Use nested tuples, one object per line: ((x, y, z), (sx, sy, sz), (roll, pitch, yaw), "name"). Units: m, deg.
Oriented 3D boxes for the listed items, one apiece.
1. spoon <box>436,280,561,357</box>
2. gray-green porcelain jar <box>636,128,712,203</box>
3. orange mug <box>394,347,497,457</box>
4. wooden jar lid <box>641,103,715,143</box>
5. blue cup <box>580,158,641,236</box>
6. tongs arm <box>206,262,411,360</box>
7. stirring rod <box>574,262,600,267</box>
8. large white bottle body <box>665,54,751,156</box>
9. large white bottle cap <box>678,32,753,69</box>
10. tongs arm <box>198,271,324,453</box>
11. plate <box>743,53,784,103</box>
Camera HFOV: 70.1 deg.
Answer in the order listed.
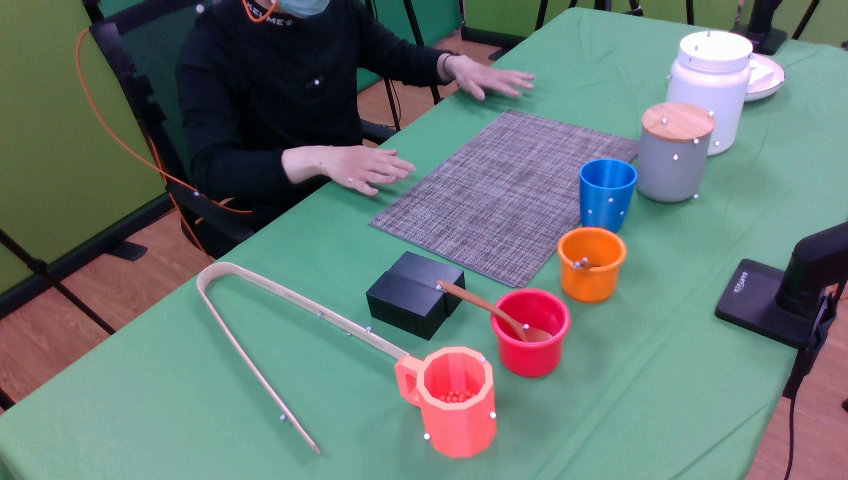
((0.096, 0.095, 0.757), (0.195, 0.021, 0.041), (34, 40, -20), "spoon")
((0.404, -0.133, 0.992), (0.106, 0.127, 0.105), (-4, 40, 4), "gray-green porcelain jar")
((0.024, 0.181, 0.703), (0.125, 0.101, 0.083), (20, 48, 23), "orange mug")
((0.398, -0.180, 0.952), (0.108, 0.021, 0.108), (-4, 43, 4), "wooden jar lid")
((0.283, -0.063, 0.947), (0.092, 0.100, 0.092), (-3, 39, 3), "blue cup")
((-0.179, 0.106, 0.870), (0.381, 0.027, 0.051), (23, 54, 32), "tongs arm")
((0.222, 0.033, 0.816), (0.014, 0.006, 0.177), (8, 1, 22), "stirring rod")
((0.500, -0.257, 1.076), (0.130, 0.185, 0.130), (-4, 41, 4), "large white bottle body")
((0.491, -0.321, 1.021), (0.115, 0.018, 0.114), (-4, 41, 4), "large white bottle cap")
((-0.236, 0.154, 0.831), (0.028, 0.028, 0.384), (-37, 48, -18), "tongs arm")
((0.631, -0.336, 1.262), (0.207, 0.039, 0.206), (-4, 41, 4), "plate")
